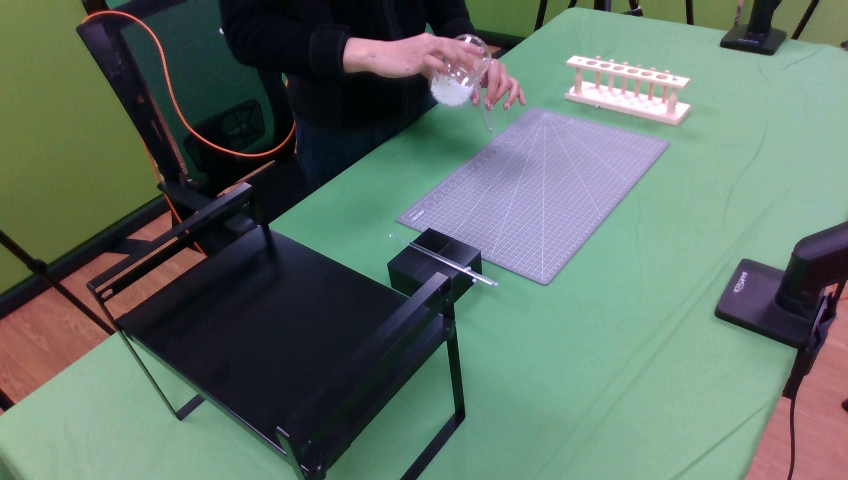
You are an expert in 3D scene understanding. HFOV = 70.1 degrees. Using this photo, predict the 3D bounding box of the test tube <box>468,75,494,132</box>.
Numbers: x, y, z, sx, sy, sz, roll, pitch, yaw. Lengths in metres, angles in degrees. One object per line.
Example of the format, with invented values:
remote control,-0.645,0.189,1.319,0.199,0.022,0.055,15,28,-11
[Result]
test tube,0.104,-0.242,1.085,0.017,0.151,0.017,-8,62,16

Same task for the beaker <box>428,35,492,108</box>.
beaker,0.057,-0.265,0.968,0.073,0.084,0.100,16,55,21

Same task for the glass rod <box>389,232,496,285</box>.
glass rod,0.022,0.025,0.878,0.198,0.008,0.008,25,50,33

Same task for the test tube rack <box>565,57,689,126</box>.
test tube rack,0.412,-0.311,1.230,0.240,0.085,0.067,24,49,32
